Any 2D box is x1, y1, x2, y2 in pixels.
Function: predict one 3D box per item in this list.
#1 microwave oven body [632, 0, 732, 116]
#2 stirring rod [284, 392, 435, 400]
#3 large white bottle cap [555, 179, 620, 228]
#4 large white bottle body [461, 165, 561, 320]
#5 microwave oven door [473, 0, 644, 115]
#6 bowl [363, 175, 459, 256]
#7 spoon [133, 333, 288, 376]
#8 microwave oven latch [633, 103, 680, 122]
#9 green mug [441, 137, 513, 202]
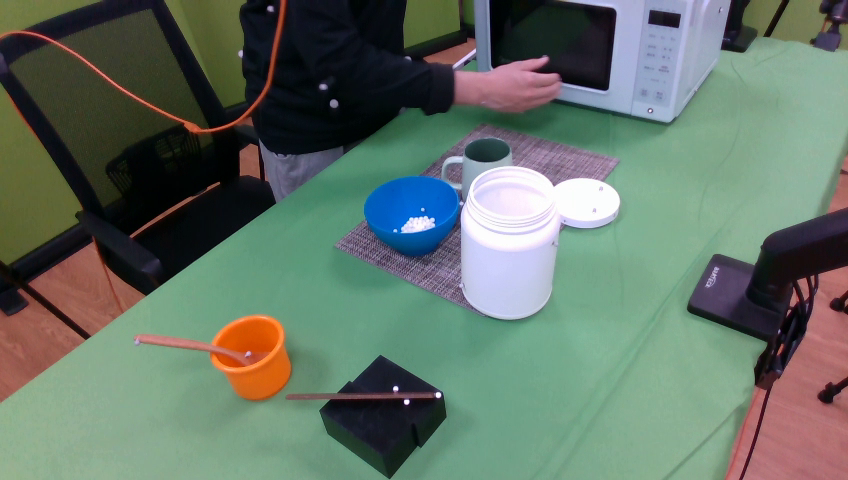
[{"bbox_3d":[0.377,-0.463,1.267,0.438,0.261,0.327,21,49,30],"label":"microwave oven body"},{"bbox_3d":[-0.075,0.180,0.697,0.176,0.006,0.014,-2,6,6],"label":"stirring rod"},{"bbox_3d":[0.265,-0.062,1.001,0.115,0.018,0.114,-3,41,3],"label":"large white bottle cap"},{"bbox_3d":[0.115,0.004,0.815,0.130,0.185,0.130,-2,43,2],"label":"large white bottle body"},{"bbox_3d":[0.257,-0.396,1.199,0.353,0.245,0.039,21,48,29],"label":"microwave oven door"},{"bbox_3d":[-0.017,-0.028,0.955,0.151,0.077,0.150,-4,40,4],"label":"bowl"},{"bbox_3d":[-0.257,0.137,0.747,0.021,0.195,0.041,-47,40,23],"label":"spoon"},{"bbox_3d":[0.443,-0.249,1.158,0.078,0.029,0.030,21,49,30],"label":"microwave oven latch"},{"bbox_3d":[0.091,-0.107,1.012,0.125,0.105,0.092,2,42,11],"label":"green mug"}]
